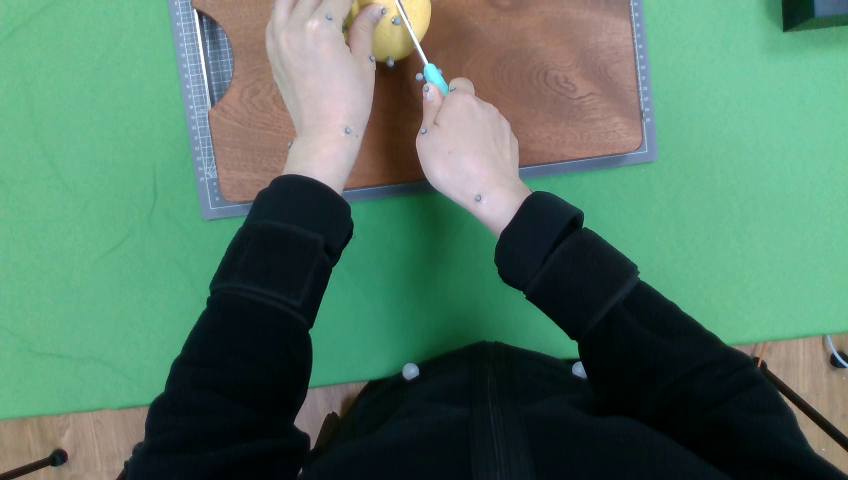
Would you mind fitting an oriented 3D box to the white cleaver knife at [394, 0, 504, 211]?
[{"bbox_3d":[0.000,-0.156,0.507,0.021,0.066,0.286,-25,92,6],"label":"white cleaver knife"}]

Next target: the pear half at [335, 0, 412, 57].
[{"bbox_3d":[-0.047,-0.191,0.505,0.056,0.110,0.076,-32,88,2],"label":"pear half"}]

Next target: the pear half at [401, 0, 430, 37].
[{"bbox_3d":[-0.013,-0.211,0.514,0.031,0.088,0.070,-33,88,-1],"label":"pear half"}]
